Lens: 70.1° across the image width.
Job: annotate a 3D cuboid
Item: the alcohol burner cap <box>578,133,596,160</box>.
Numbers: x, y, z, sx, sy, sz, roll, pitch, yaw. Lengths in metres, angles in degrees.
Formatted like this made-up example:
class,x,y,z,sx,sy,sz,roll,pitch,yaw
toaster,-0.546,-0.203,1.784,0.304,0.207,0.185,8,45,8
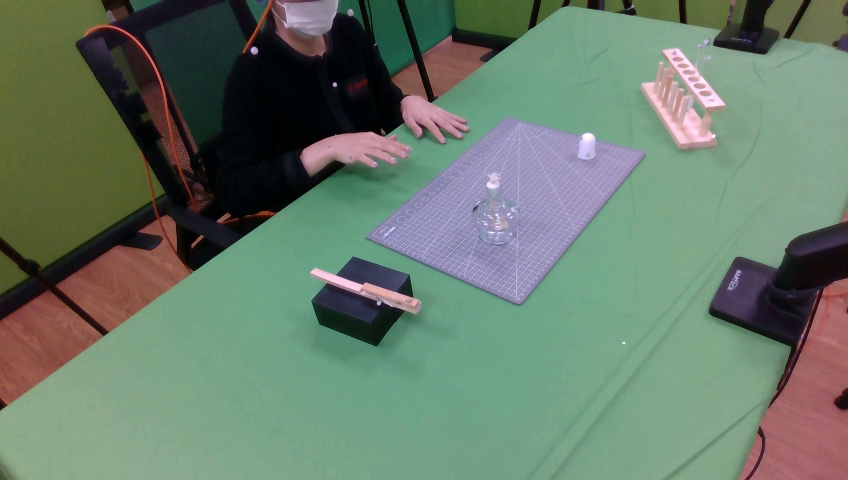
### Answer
class,x,y,z,sx,sy,sz,roll,pitch,yaw
alcohol burner cap,0.301,-0.174,1.111,0.034,0.048,0.033,-5,41,4

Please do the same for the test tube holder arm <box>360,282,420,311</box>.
class,x,y,z,sx,sy,sz,roll,pitch,yaw
test tube holder arm,-0.046,0.075,0.811,0.087,0.010,0.015,17,47,25

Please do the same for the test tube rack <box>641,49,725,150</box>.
class,x,y,z,sx,sy,sz,roll,pitch,yaw
test tube rack,0.495,-0.279,1.175,0.067,0.085,0.241,-5,41,3

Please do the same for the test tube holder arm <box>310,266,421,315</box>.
class,x,y,z,sx,sy,sz,roll,pitch,yaw
test tube holder arm,-0.084,0.067,0.833,0.177,0.013,0.015,17,47,25

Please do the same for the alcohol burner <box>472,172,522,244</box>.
class,x,y,z,sx,sy,sz,roll,pitch,yaw
alcohol burner,0.112,-0.053,0.942,0.078,0.119,0.077,-6,40,5

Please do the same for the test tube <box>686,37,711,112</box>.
class,x,y,z,sx,sy,sz,roll,pitch,yaw
test tube,0.509,-0.306,1.128,0.017,0.151,0.017,-3,45,3
